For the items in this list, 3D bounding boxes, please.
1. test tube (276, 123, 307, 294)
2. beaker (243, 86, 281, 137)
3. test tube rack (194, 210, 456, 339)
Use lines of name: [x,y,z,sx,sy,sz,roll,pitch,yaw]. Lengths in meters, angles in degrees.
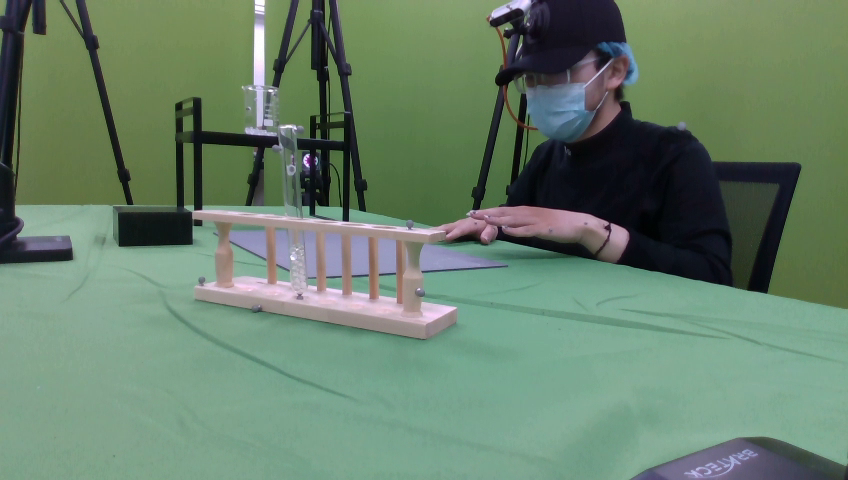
test tube: [-0.116,-0.027,0.533,0.017,0.150,0.017,-3,7,1]
beaker: [-0.338,-0.265,1.253,0.073,0.100,0.084,8,9,38]
test tube rack: [-0.093,0.023,0.546,0.241,0.085,0.067,6,8,25]
